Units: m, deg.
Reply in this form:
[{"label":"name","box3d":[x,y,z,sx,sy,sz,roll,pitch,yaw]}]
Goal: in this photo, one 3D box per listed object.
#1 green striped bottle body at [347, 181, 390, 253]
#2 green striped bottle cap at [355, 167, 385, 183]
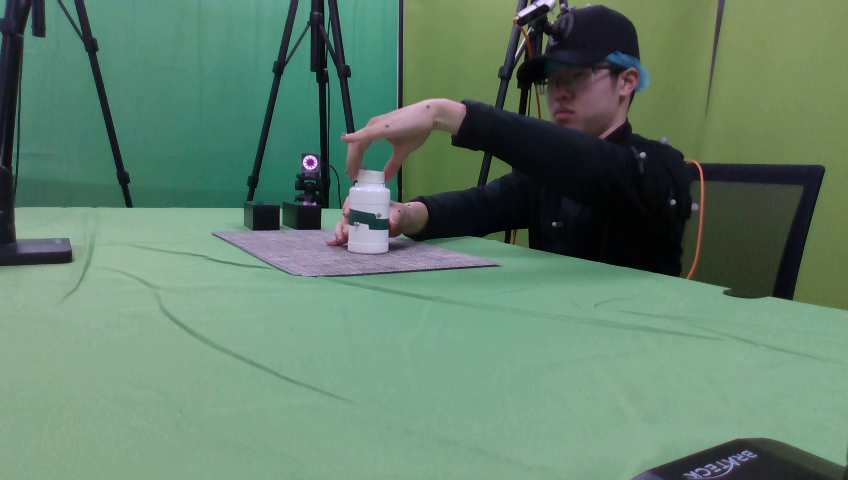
[{"label":"green striped bottle body","box3d":[-0.083,-0.042,0.913,0.063,0.119,0.063,3,8,0]},{"label":"green striped bottle cap","box3d":[-0.081,-0.097,0.907,0.044,0.020,0.044,8,9,-1]}]
